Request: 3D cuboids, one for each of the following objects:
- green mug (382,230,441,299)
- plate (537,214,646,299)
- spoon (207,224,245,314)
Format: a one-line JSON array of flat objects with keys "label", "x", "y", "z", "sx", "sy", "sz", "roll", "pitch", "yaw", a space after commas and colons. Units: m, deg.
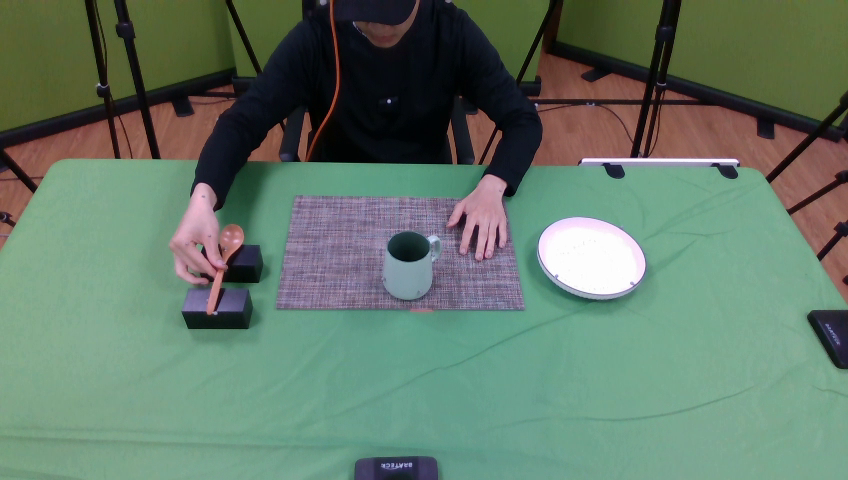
[{"label": "green mug", "x": -0.017, "y": 0.037, "z": 1.097, "sx": 0.125, "sy": 0.105, "sz": 0.092, "roll": -34, "pitch": 57, "yaw": -31}, {"label": "plate", "x": 0.321, "y": 0.035, "z": 1.176, "sx": 0.209, "sy": 0.038, "sz": 0.208, "roll": 2, "pitch": 47, "yaw": -2}, {"label": "spoon", "x": -0.350, "y": 0.047, "z": 1.055, "sx": 0.042, "sy": 0.022, "sz": 0.192, "roll": 11, "pitch": 46, "yaw": -10}]
